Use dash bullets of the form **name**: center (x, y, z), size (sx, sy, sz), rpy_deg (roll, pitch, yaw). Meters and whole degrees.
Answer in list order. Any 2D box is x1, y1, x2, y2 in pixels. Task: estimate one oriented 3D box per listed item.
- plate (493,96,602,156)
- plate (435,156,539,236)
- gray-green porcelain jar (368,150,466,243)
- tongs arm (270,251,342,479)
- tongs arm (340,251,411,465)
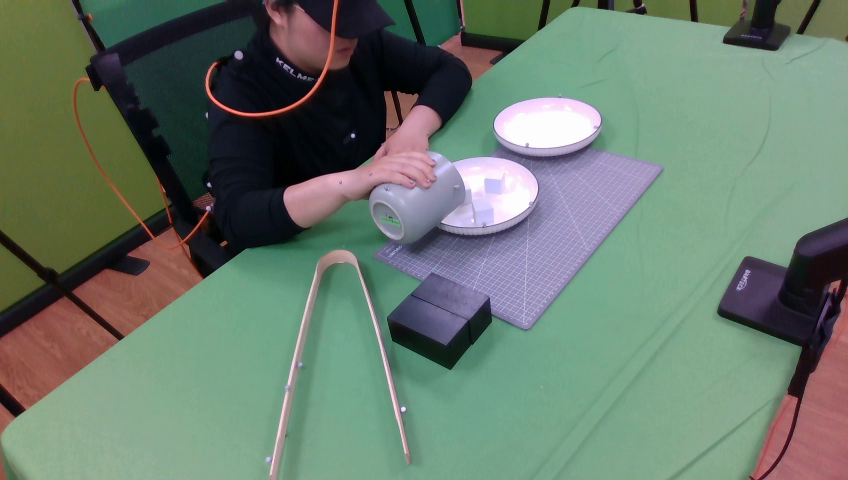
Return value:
- **plate**: center (0.239, -0.218, 1.180), size (0.209, 0.038, 0.208), rpy_deg (-4, 39, 4)
- **plate**: center (0.091, -0.072, 1.034), size (0.207, 0.039, 0.206), rpy_deg (-5, 40, 5)
- **gray-green porcelain jar**: center (-0.014, -0.063, 0.934), size (0.105, 0.106, 0.127), rpy_deg (26, 50, 34)
- **tongs arm**: center (-0.152, 0.148, 0.826), size (0.051, 0.026, 0.382), rpy_deg (-6, 39, 3)
- **tongs arm**: center (-0.070, 0.136, 0.830), size (0.028, 0.028, 0.384), rpy_deg (-18, 40, -6)
